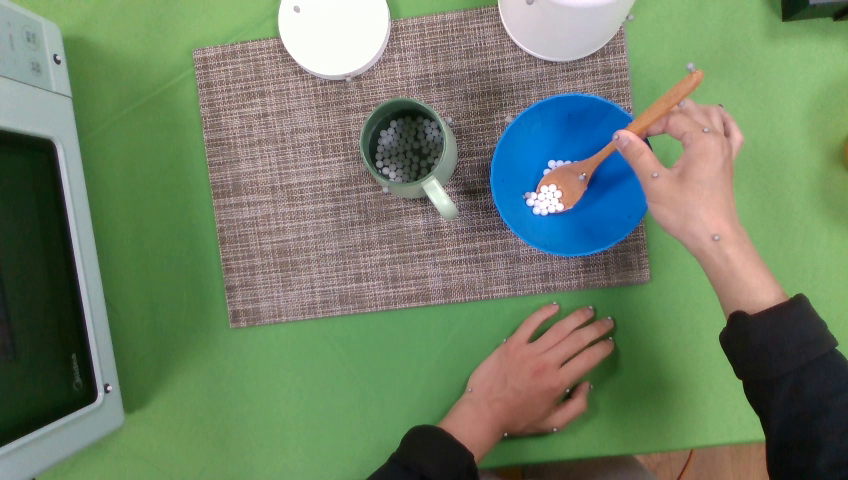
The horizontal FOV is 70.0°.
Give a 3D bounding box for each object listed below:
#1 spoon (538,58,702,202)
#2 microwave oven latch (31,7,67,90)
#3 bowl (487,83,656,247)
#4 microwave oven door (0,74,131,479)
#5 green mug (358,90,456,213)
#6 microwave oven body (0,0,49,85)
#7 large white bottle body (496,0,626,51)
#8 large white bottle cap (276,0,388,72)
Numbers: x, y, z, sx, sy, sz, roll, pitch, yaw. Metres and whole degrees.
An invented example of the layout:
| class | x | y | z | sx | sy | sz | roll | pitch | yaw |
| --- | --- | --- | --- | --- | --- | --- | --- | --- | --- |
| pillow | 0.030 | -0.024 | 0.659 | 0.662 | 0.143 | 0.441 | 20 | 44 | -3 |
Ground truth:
| class | x | y | z | sx | sy | sz | roll | pitch | yaw |
| --- | --- | --- | --- | --- | --- | --- | --- | --- | --- |
| spoon | 0.167 | -0.091 | 0.539 | 0.021 | 0.194 | 0.041 | -31 | 82 | -38 |
| microwave oven latch | -0.394 | -0.194 | 0.623 | 0.030 | 0.029 | 0.079 | -8 | 94 | 4 |
| bowl | 0.136 | -0.070 | 0.590 | 0.151 | 0.077 | 0.151 | 0 | 94 | 5 |
| microwave oven door | -0.370 | 0.027 | 0.534 | 0.039 | 0.244 | 0.356 | -9 | 93 | 5 |
| green mug | -0.007 | -0.081 | 0.585 | 0.092 | 0.105 | 0.125 | -34 | 90 | 4 |
| microwave oven body | -0.521 | 0.007 | 0.547 | 0.326 | 0.260 | 0.442 | -9 | 93 | 4 |
| large white bottle body | 0.128 | -0.256 | 0.525 | 0.130 | 0.185 | 0.130 | 0 | 89 | 4 |
| large white bottle cap | -0.095 | -0.233 | 0.625 | 0.115 | 0.018 | 0.115 | 0 | 93 | 4 |
